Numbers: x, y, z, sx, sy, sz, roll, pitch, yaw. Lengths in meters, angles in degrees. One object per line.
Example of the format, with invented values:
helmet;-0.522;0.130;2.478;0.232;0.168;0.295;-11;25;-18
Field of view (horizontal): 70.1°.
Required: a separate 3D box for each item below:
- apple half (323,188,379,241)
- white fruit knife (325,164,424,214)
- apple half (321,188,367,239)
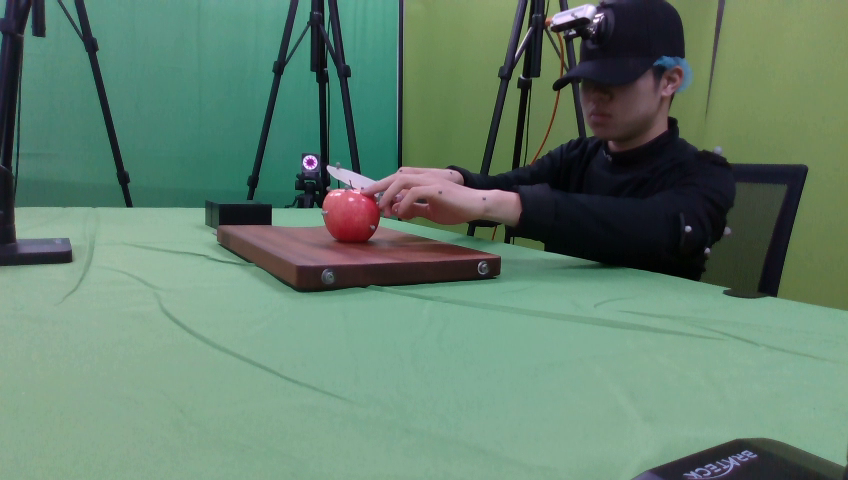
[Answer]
apple half;-0.094;-0.034;0.840;0.081;0.074;0.053;1;10;-45
white fruit knife;-0.067;-0.077;0.894;0.016;0.027;0.208;8;-7;41
apple half;-0.121;-0.040;0.867;0.082;0.081;0.032;-5;15;-44
